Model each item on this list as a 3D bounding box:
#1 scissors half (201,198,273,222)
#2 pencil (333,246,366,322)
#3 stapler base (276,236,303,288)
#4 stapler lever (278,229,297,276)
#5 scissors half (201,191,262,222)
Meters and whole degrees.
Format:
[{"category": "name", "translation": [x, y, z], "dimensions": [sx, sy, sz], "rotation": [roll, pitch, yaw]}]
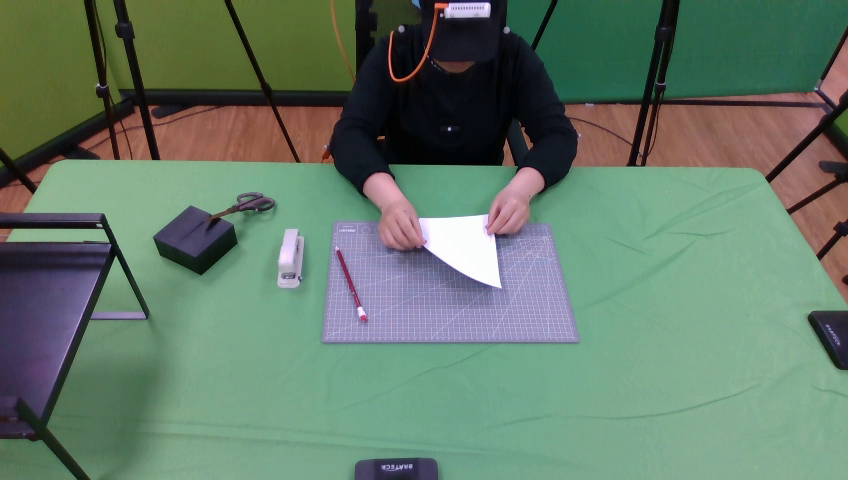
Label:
[{"category": "scissors half", "translation": [-0.365, -0.055, 1.192], "dimensions": [0.040, 0.013, 0.175], "rotation": [39, 32, 22]}, {"category": "pencil", "translation": [-0.140, 0.077, 1.117], "dimensions": [0.012, 0.012, 0.192], "rotation": [-14, 48, -17]}, {"category": "stapler base", "translation": [-0.254, 0.034, 1.144], "dimensions": [0.041, 0.024, 0.129], "rotation": [1, 44, -7]}, {"category": "stapler lever", "translation": [-0.253, 0.016, 1.128], "dimensions": [0.027, 0.040, 0.117], "rotation": [1, 45, -7]}, {"category": "scissors half", "translation": [-0.381, -0.066, 1.198], "dimensions": [0.040, 0.013, 0.175], "rotation": [25, 28, 9]}]
